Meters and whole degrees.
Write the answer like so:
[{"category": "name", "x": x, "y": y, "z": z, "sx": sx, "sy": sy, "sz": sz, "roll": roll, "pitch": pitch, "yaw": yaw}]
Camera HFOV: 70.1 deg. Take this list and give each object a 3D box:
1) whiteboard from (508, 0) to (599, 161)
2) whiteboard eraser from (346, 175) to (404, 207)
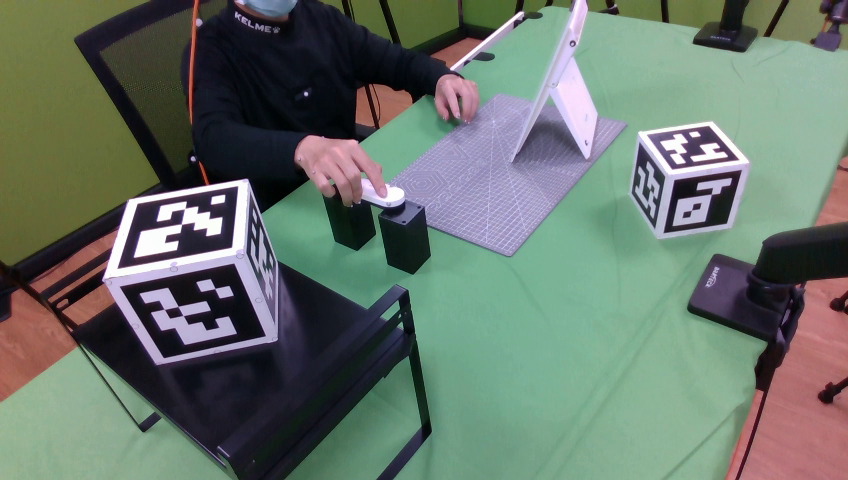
[{"category": "whiteboard", "x": 0.285, "y": -0.289, "z": 1.088, "sx": 0.144, "sy": 0.305, "sz": 0.217, "roll": 22, "pitch": 45, "yaw": 3}, {"category": "whiteboard eraser", "x": -0.074, "y": -0.075, "z": 0.910, "sx": 0.100, "sy": 0.019, "sz": 0.041, "roll": 21, "pitch": 43, "yaw": 29}]
